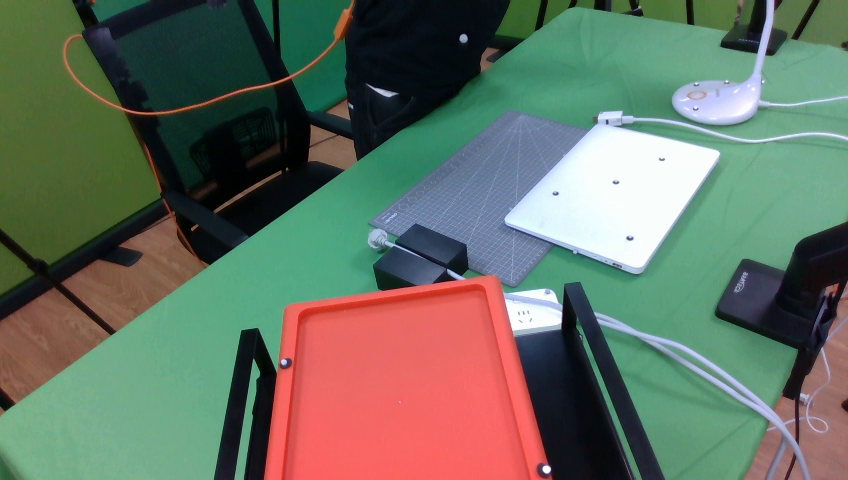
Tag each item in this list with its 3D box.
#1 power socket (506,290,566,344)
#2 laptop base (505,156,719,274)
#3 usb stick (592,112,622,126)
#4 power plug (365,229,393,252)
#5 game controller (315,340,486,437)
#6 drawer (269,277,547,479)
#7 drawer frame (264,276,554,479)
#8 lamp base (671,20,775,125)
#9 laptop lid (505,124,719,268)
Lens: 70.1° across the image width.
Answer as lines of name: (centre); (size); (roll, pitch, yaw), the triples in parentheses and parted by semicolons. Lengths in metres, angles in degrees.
power socket: (0.081, 0.112, 0.822); (0.227, 0.033, 0.072); (-7, 41, 0)
laptop base: (0.326, -0.083, 1.028); (0.233, 0.023, 0.355); (21, 48, 32)
usb stick: (0.361, -0.239, 1.196); (0.059, 0.021, 0.027); (4, 42, 27)
power plug: (-0.068, 0.010, 0.954); (0.035, 0.053, 0.072); (-39, 52, 2)
game controller: (-0.021, 0.119, 0.534); (0.155, 0.052, 0.096); (-3, 39, 1)
drawer: (-0.018, 0.137, 0.493); (0.195, 0.073, 0.210); (-7, 41, -1)
drawer frame: (-0.016, 0.137, 0.490); (0.202, 0.083, 0.212); (-8, 41, -2)
lamp base: (0.582, -0.332, 1.153); (0.179, 0.181, 0.160); (2, 41, 7)
laptop lid: (0.323, -0.093, 1.021); (0.240, 0.013, 0.358); (23, 49, 32)
